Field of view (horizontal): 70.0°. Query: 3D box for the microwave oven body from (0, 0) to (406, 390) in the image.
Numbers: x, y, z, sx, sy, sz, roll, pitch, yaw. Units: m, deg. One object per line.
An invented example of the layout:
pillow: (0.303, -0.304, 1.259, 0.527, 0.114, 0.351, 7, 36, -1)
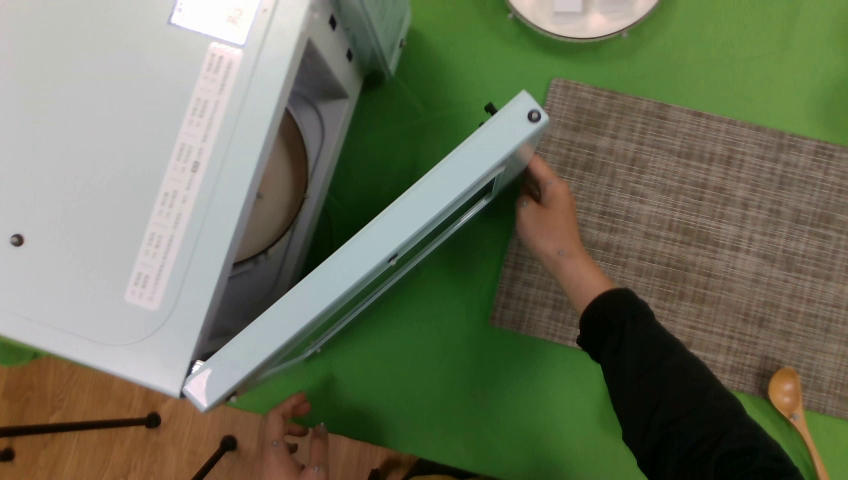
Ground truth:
microwave oven body: (-0.243, -0.124, 0.607, 0.326, 0.260, 0.441, 18, 90, 4)

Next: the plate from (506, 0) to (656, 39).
plate: (0.181, -0.333, 0.704, 0.207, 0.039, 0.207, 0, 88, 4)

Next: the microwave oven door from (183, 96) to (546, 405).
microwave oven door: (-0.040, 0.014, 0.585, 0.356, 0.244, 0.039, -40, 84, 1)

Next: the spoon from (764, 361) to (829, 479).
spoon: (0.424, 0.226, 0.673, 0.042, 0.021, 0.193, -22, 88, -14)

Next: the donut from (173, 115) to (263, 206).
donut: (-0.220, -0.084, 0.647, 0.099, 0.048, 0.099, 1, 93, 13)

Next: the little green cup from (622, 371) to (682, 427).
little green cup: (0.253, 0.176, 0.680, 0.061, 0.039, 0.061, 0, 86, 4)

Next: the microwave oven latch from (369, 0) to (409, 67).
microwave oven latch: (-0.041, -0.243, 0.695, 0.030, 0.029, 0.079, 21, 90, 4)
